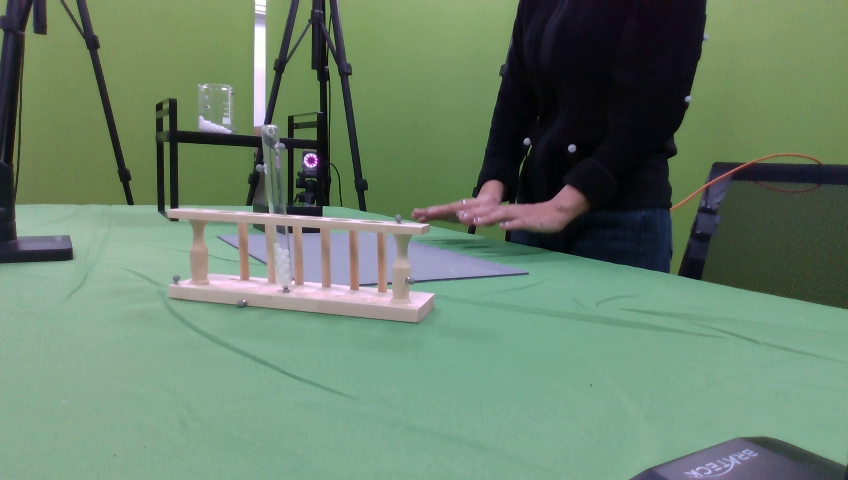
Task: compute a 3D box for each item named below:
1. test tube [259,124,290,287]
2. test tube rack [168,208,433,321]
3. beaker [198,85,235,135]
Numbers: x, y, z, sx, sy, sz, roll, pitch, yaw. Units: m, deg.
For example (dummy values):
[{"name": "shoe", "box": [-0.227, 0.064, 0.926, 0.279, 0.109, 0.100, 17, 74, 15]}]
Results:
[{"name": "test tube", "box": [-0.137, -0.031, 0.556, 0.017, 0.150, 0.017, -4, 7, 1]}, {"name": "test tube rack", "box": [-0.115, 0.017, 0.574, 0.242, 0.085, 0.067, 4, 8, 13]}, {"name": "beaker", "box": [-0.439, -0.273, 1.275, 0.074, 0.100, 0.084, 5, 8, 19]}]
